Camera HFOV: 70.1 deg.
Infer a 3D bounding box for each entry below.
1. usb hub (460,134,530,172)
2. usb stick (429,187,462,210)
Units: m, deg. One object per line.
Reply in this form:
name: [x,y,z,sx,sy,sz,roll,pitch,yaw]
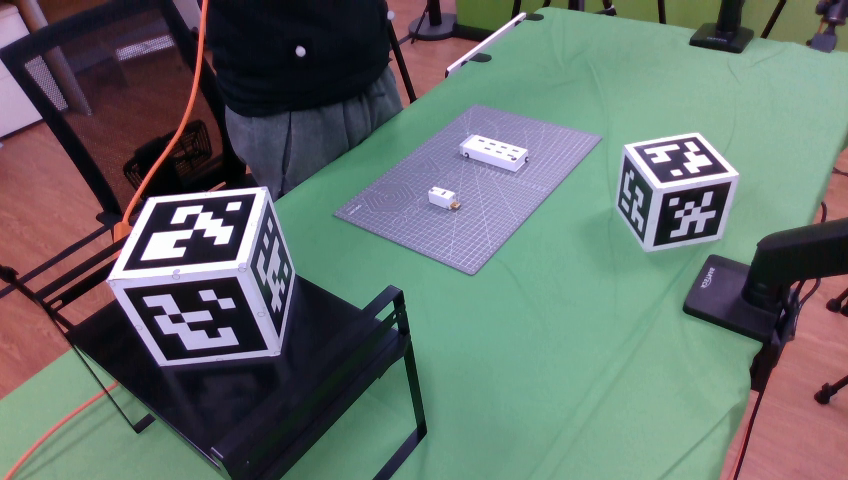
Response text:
usb hub: [0.132,-0.165,1.137,0.124,0.025,0.049,22,49,30]
usb stick: [0.039,-0.069,1.038,0.059,0.027,0.021,24,48,30]
